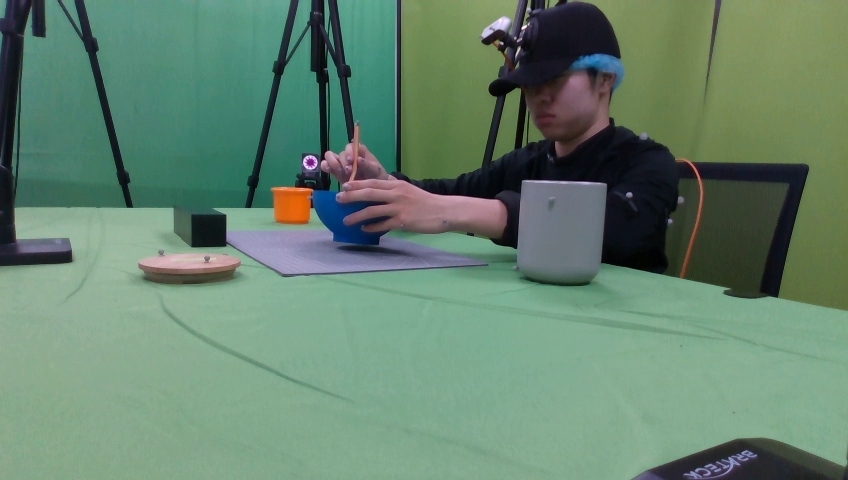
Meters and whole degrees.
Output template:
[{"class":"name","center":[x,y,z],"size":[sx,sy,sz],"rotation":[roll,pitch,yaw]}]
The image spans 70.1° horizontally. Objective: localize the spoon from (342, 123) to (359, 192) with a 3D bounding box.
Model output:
[{"class":"spoon","center":[-0.121,-0.108,0.996],"size":[0.021,0.193,0.041],"rotation":[7,-22,5]}]

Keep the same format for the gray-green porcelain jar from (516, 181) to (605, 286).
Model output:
[{"class":"gray-green porcelain jar","center":[0.172,-0.010,0.768],"size":[0.106,0.126,0.106],"rotation":[2,7,0]}]

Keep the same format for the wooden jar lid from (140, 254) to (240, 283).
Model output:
[{"class":"wooden jar lid","center":[-0.269,0.032,0.698],"size":[0.108,0.020,0.108],"rotation":[2,5,0]}]

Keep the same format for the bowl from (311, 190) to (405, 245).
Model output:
[{"class":"bowl","center":[-0.107,-0.033,0.961],"size":[0.151,0.077,0.151],"rotation":[5,2,0]}]
